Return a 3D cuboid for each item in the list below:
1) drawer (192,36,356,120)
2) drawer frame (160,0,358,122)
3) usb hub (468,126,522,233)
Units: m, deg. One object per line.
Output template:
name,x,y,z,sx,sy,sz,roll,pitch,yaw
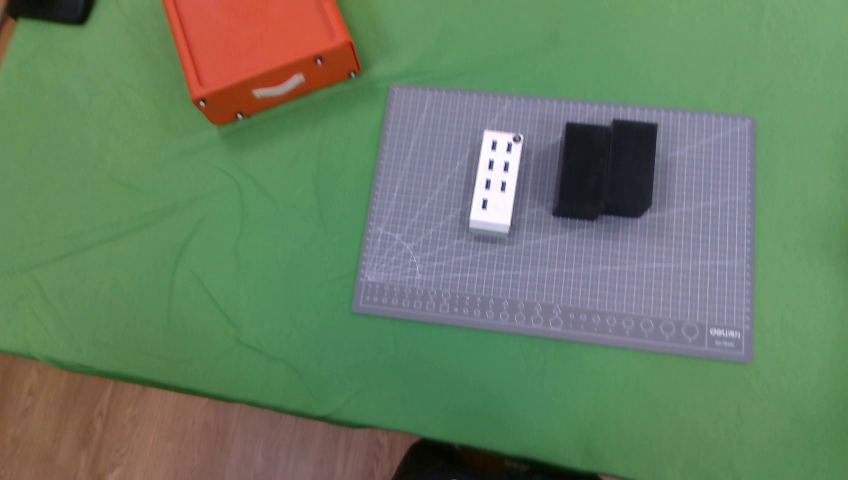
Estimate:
drawer,-0.214,-0.283,0.761,0.194,0.073,0.210,-22,76,-1
drawer frame,-0.214,-0.284,0.760,0.202,0.083,0.212,-23,75,-2
usb hub,0.084,-0.073,0.718,0.049,0.025,0.124,8,77,5
